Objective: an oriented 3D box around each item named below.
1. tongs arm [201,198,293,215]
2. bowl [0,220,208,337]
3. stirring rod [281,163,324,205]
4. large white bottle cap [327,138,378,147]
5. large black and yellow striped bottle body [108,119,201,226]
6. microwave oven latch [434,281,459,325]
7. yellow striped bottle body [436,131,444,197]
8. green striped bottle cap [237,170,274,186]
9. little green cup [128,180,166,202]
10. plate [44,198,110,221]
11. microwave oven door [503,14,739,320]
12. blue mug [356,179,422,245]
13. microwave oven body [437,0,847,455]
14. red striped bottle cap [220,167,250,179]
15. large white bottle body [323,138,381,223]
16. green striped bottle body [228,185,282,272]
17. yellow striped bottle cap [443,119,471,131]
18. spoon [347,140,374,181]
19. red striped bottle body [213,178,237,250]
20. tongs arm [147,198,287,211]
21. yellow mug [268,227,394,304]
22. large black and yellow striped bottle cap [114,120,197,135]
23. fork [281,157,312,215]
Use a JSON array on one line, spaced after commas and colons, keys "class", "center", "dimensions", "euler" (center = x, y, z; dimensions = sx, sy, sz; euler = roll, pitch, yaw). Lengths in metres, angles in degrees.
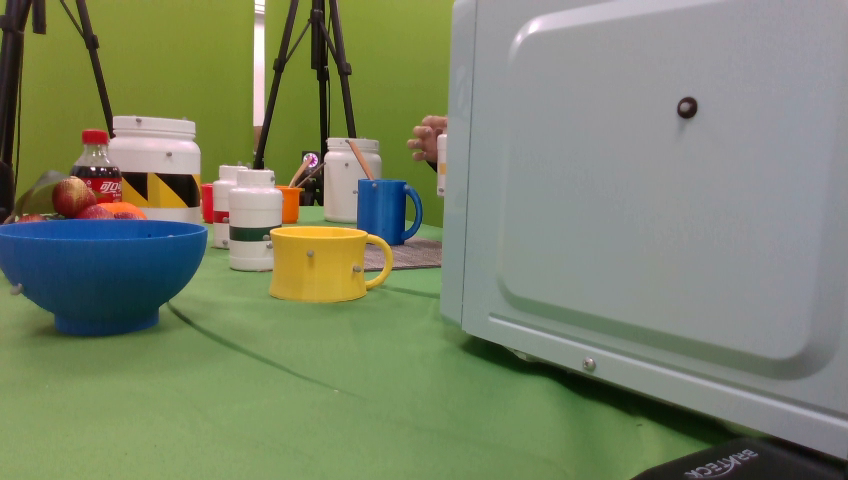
[{"class": "tongs arm", "center": [-0.423, -0.084, 1.472], "dimensions": [0.050, 0.026, 0.386], "euler": [2, 6, 21]}, {"class": "bowl", "center": [-0.251, 0.029, 0.479], "dimensions": [0.151, 0.077, 0.151], "euler": [2, 7, 0]}, {"class": "stirring rod", "center": [-0.278, -0.105, 1.293], "dimensions": [0.176, 0.006, 0.014], "euler": [-47, 24, -18]}, {"class": "large white bottle cap", "center": [-0.160, -0.218, 1.357], "dimensions": [0.115, 0.018, 0.115], "euler": [2, 8, 0]}, {"class": "large black and yellow striped bottle body", "center": [-0.412, -0.088, 0.930], "dimensions": [0.131, 0.184, 0.130], "euler": [3, 7, 0]}, {"class": "microwave oven latch", "center": [0.044, 0.045, 0.470], "dimensions": [0.079, 0.029, 0.030], "euler": [-2, 8, -39]}, {"class": "yellow striped bottle body", "center": [0.051, -0.129, 0.960], "dimensions": [0.063, 0.120, 0.063], "euler": [-1, 10, 0]}, {"class": "green striped bottle cap", "center": [-0.205, -0.075, 0.737], "dimensions": [0.044, 0.020, 0.044], "euler": [1, 6, 0]}, {"class": "little green cup", "center": [-0.485, -0.087, 1.062], "dimensions": [0.061, 0.038, 0.061], "euler": [-1, 6, 0]}, {"class": "plate", "center": [-0.617, -0.056, 1.179], "dimensions": [0.209, 0.038, 0.209], "euler": [3, 7, 0]}, {"class": "microwave oven door", "center": [0.217, -0.065, 0.601], "dimensions": [0.358, 0.243, 0.039], "euler": [-4, 10, -41]}, {"class": "blue mug", "center": [-0.057, -0.046, 1.006], "dimensions": [0.116, 0.106, 0.082], "euler": [5, 8, 21]}, {"class": "microwave oven body", "center": [0.279, -0.040, 0.465], "dimensions": [0.444, 0.260, 0.324], "euler": [-3, 9, -41]}, {"class": "red striped bottle cap", "center": [-0.281, -0.100, 0.901], "dimensions": [0.044, 0.017, 0.044], "euler": [-1, 5, 0]}, {"class": "large white bottle body", "center": [-0.163, -0.135, 1.368], "dimensions": [0.131, 0.184, 0.130], "euler": [2, 7, 0]}, {"class": "green striped bottle body", "center": [-0.208, -0.023, 0.745], "dimensions": [0.063, 0.119, 0.063], "euler": [2, 7, 0]}, {"class": "yellow striped bottle cap", "center": [0.051, -0.180, 0.952], "dimensions": [0.044, 0.018, 0.044], "euler": [-2, 10, 1]}, {"class": "spoon", "center": [-0.089, -0.094, 1.028], "dimensions": [0.042, 0.193, 0.021], "euler": [-4, -26, -46]}, {"class": "red striped bottle body", "center": [-0.284, -0.048, 0.909], "dimensions": [0.063, 0.119, 0.063], "euler": [3, 10, 0]}, {"class": "tongs arm", "center": [-0.504, -0.091, 1.513], "dimensions": [0.028, 0.028, 0.389], "euler": [0, 4, 37]}, {"class": "yellow mug", "center": [-0.094, 0.023, 0.629], "dimensions": [0.131, 0.064, 0.099], "euler": [0, 7, -22]}, {"class": "large black and yellow striped bottle cap", "center": [-0.407, -0.171, 0.920], "dimensions": [0.115, 0.019, 0.115], "euler": [2, 9, 0]}, {"class": "fork", "center": [-0.289, -0.116, 1.321], "dimensions": [0.028, 0.019, 0.207], "euler": [6, 51, 19]}]
